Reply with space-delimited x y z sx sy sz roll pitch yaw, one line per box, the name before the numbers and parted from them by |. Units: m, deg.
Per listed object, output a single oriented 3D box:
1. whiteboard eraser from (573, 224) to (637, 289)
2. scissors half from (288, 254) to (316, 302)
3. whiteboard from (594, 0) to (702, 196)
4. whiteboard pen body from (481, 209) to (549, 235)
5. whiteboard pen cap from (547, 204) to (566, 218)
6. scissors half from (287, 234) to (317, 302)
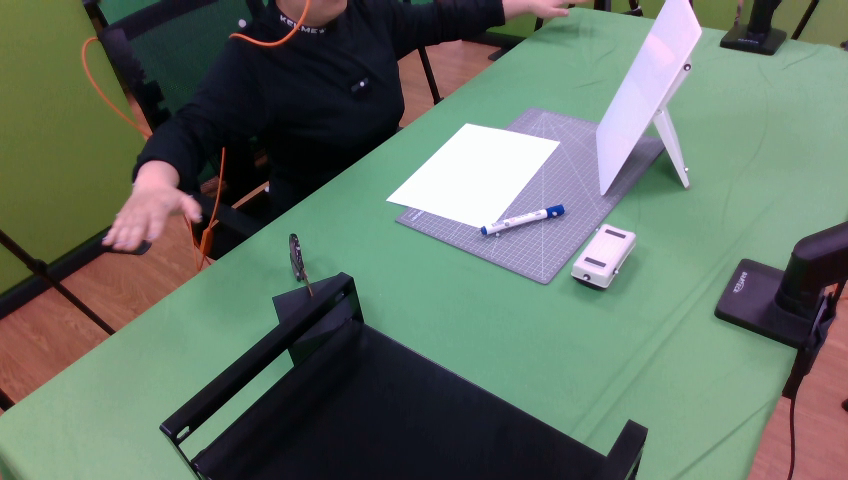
whiteboard eraser | 0.267 0.025 0.890 0.055 0.042 0.113 19 47 31
scissors half | -0.178 0.058 0.894 0.013 0.040 0.174 -16 20 -17
whiteboard | 0.420 -0.227 1.010 0.144 0.305 0.216 18 42 -2
whiteboard pen body | 0.160 -0.032 0.985 0.141 0.017 0.017 -16 41 -12
whiteboard pen cap | 0.216 -0.046 0.997 0.033 0.018 0.018 -18 41 -10
scissors half | -0.179 0.040 0.884 0.013 0.040 0.173 -11 36 -20
